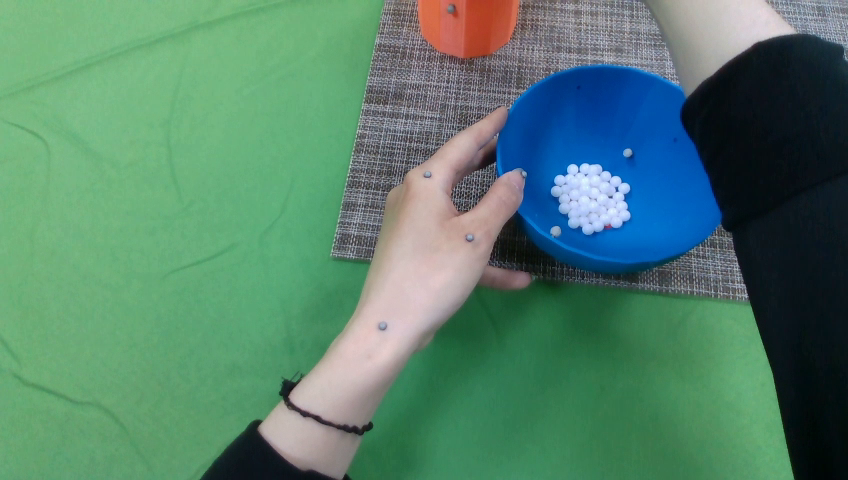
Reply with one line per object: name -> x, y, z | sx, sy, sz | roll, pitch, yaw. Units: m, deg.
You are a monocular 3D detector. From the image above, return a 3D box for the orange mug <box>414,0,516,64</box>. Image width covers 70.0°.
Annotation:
orange mug -> 0.039, -0.227, 0.501 | 0.083, 0.101, 0.125 | 17, 70, 9

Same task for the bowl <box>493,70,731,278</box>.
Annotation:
bowl -> 0.119, -0.033, 0.418 | 0.151, 0.077, 0.150 | 0, 64, 0

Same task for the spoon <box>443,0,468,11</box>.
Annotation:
spoon -> 0.053, -0.228, 0.437 | 0.022, 0.194, 0.041 | 22, 71, -10
